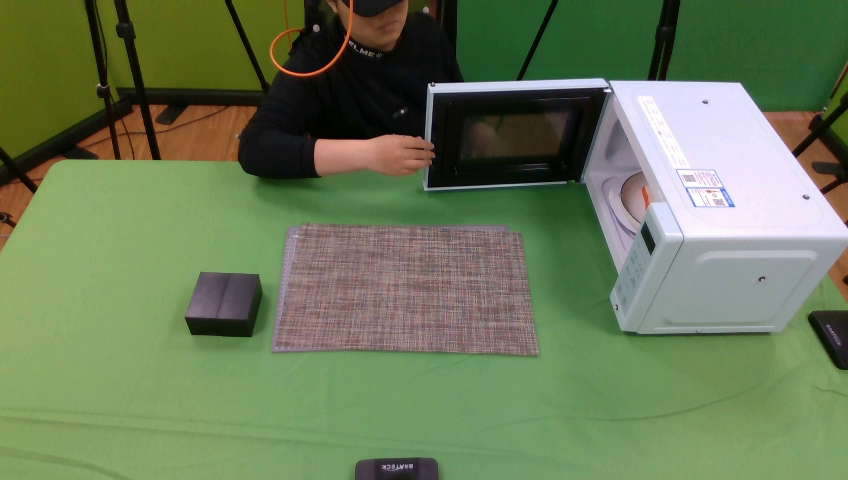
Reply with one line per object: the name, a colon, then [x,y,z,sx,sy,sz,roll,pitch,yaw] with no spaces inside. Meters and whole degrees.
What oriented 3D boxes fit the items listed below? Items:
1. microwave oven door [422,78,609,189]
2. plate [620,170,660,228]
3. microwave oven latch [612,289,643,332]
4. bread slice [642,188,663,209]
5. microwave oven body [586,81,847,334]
microwave oven door: [0.178,-0.215,1.243,0.356,0.245,0.039,-4,46,-7]
plate: [0.490,-0.060,1.194,0.209,0.038,0.208,3,45,-2]
microwave oven latch: [0.357,0.124,1.068,0.030,0.029,0.078,0,45,-3]
bread slice: [0.493,-0.057,1.196,0.105,0.019,0.131,6,43,3]
microwave oven body: [0.501,-0.070,1.132,0.326,0.261,0.438,-1,45,-3]
